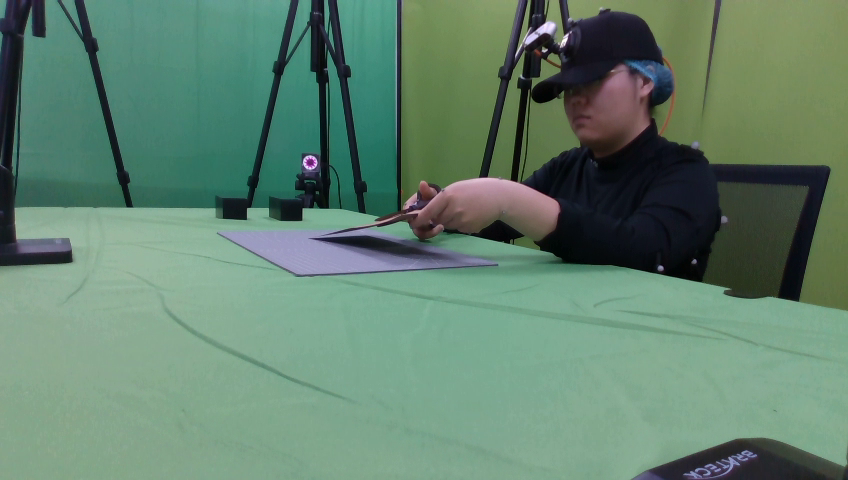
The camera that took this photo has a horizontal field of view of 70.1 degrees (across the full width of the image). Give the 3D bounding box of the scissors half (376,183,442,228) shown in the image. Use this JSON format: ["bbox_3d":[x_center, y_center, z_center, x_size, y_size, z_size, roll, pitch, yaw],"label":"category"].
[{"bbox_3d":[-0.026,-0.058,1.047,0.013,0.040,0.176,-14,17,45],"label":"scissors half"}]

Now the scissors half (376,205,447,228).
[{"bbox_3d":[-0.020,-0.038,1.049,0.012,0.040,0.176,-7,0,45],"label":"scissors half"}]

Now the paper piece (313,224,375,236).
[{"bbox_3d":[-0.114,-0.023,1.051,0.136,0.004,0.135,-13,3,-43],"label":"paper piece"}]

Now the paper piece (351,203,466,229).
[{"bbox_3d":[-0.025,-0.039,0.947,0.136,0.008,0.137,-21,10,-37],"label":"paper piece"}]
